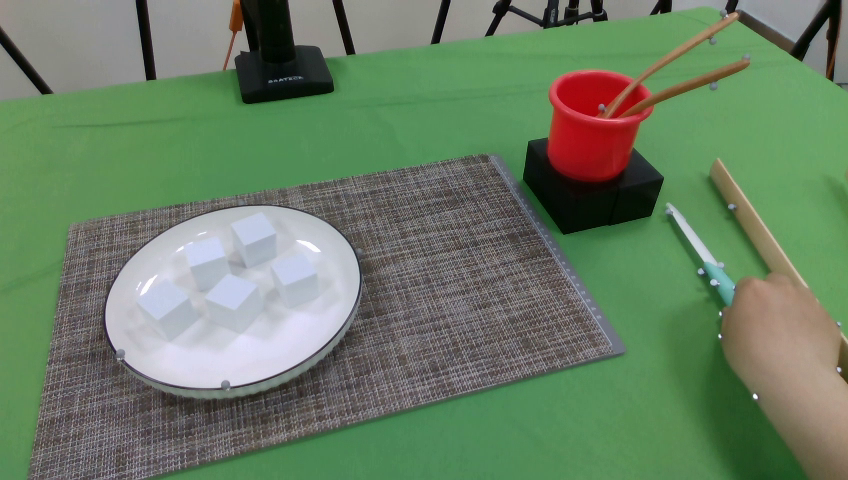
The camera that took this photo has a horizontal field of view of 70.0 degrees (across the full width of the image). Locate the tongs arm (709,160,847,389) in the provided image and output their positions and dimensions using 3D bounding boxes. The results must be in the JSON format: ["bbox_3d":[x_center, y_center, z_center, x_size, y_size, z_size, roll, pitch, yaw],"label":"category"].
[{"bbox_3d":[0.346,0.051,0.545,0.028,0.028,0.383,-2,44,-6],"label":"tongs arm"}]

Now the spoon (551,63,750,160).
[{"bbox_3d":[0.196,-0.113,0.551,0.022,0.193,0.041,54,48,-8],"label":"spoon"}]

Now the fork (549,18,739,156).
[{"bbox_3d":[0.210,-0.146,0.587,0.207,0.019,0.028,-39,21,15],"label":"fork"}]

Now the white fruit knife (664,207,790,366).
[{"bbox_3d":[0.275,0.033,0.573,0.027,0.016,0.205,17,35,-26],"label":"white fruit knife"}]

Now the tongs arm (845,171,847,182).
[{"bbox_3d":[0.427,0.051,0.541,0.051,0.027,0.381,5,45,6],"label":"tongs arm"}]

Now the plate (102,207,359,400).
[{"bbox_3d":[-0.159,0.052,0.520,0.208,0.039,0.205,1,43,-1],"label":"plate"}]
